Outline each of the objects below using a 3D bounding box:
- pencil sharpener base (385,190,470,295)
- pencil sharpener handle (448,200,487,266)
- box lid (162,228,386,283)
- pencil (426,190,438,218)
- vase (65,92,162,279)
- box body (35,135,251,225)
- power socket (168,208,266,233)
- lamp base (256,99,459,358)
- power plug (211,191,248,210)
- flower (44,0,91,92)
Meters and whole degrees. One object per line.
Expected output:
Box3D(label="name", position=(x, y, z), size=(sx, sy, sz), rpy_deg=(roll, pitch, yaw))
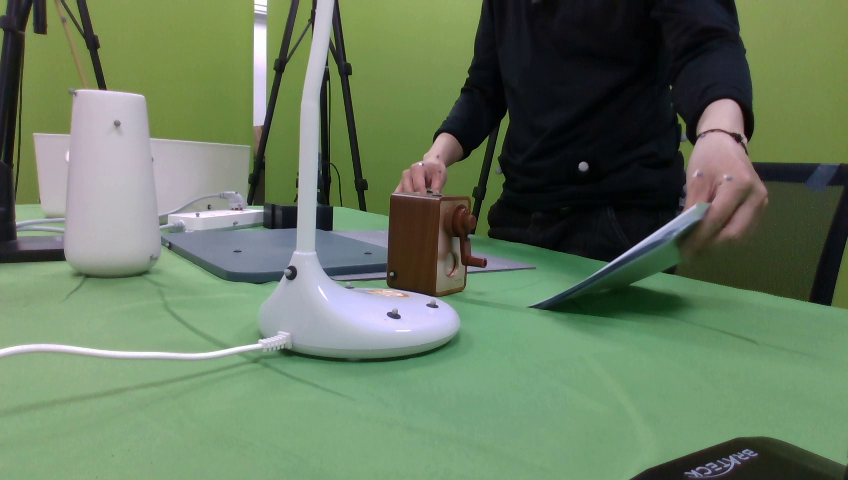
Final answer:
Box3D(label="pencil sharpener base", position=(0.006, 0.001, 0.652), size=(0.076, 0.107, 0.061), rpy_deg=(8, 9, 37))
Box3D(label="pencil sharpener handle", position=(0.049, -0.006, 0.623), size=(0.030, 0.068, 0.036), rpy_deg=(8, 22, 37))
Box3D(label="box lid", position=(-0.200, 0.014, 0.861), size=(0.265, 0.015, 0.369), rpy_deg=(-4, 9, -35))
Box3D(label="pencil", position=(0.014, -0.064, 1.068), size=(0.012, 0.012, 0.194), rpy_deg=(2, -10, -3))
Box3D(label="vase", position=(-0.347, -0.060, 0.673), size=(0.098, 0.200, 0.098), rpy_deg=(1, 7, 0))
Box3D(label="box body", position=(-0.559, -0.127, 1.257), size=(0.253, 0.160, 0.365), rpy_deg=(4, 8, 15))
Box3D(label="power socket", position=(-0.379, -0.038, 1.129), size=(0.072, 0.032, 0.227), rpy_deg=(4, 8, 18))
Box3D(label="lamp base", position=(-0.055, -0.013, 0.463), size=(0.160, 0.180, 0.180), rpy_deg=(6, 11, 27))
Box3D(label="power plug", position=(-0.384, -0.071, 1.205), size=(0.072, 0.052, 0.035), rpy_deg=(1, 8, 28))
Box3D(label="flower", position=(-0.361, -0.142, 0.663), size=(0.044, 0.361, 0.038), rpy_deg=(-12, 11, 30))
